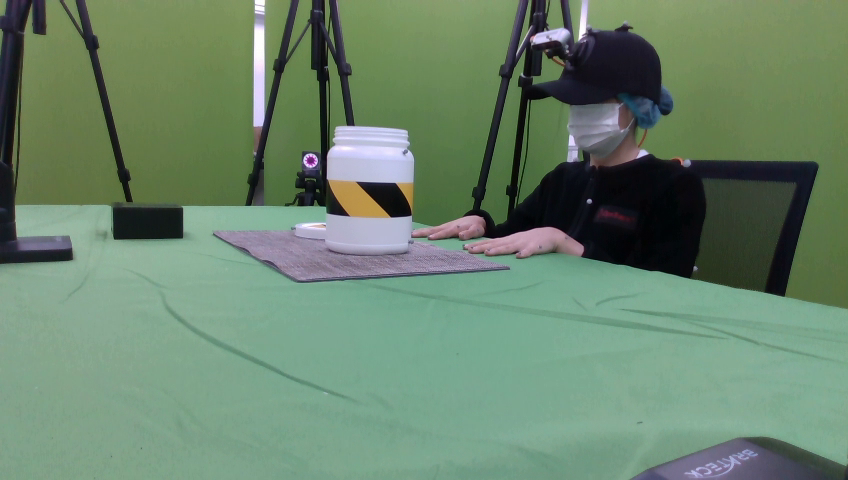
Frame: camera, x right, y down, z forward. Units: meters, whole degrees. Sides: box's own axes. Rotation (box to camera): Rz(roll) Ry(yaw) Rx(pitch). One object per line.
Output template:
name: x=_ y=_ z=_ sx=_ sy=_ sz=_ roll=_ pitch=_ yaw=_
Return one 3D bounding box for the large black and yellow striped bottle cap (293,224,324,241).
large black and yellow striped bottle cap: x=-0.173 y=-0.015 z=1.071 sx=0.115 sy=0.019 sz=0.115 roll=2 pitch=7 yaw=0

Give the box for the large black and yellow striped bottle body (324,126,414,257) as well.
large black and yellow striped bottle body: x=-0.082 y=-0.074 z=0.904 sx=0.131 sy=0.184 sz=0.130 roll=3 pitch=7 yaw=0
